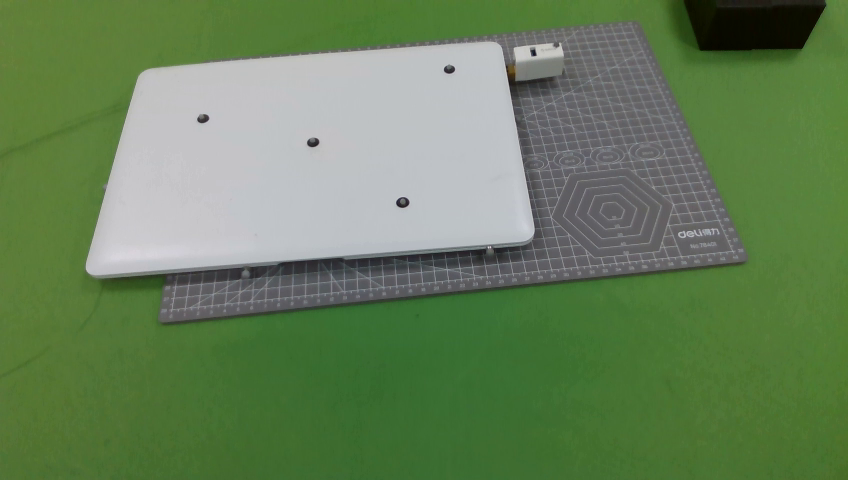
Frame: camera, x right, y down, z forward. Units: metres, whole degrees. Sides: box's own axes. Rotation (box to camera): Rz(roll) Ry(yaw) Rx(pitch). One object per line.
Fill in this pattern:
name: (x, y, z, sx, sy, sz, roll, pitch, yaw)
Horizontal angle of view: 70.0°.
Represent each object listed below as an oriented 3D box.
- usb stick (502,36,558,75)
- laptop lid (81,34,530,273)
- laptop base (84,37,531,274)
usb stick: (0.095, -0.172, 0.567, 0.059, 0.027, 0.021, -7, 58, 5)
laptop lid: (-0.098, -0.087, 0.523, 0.357, 0.013, 0.239, -3, 59, 1)
laptop base: (-0.098, -0.082, 0.535, 0.354, 0.023, 0.233, -5, 60, 0)
